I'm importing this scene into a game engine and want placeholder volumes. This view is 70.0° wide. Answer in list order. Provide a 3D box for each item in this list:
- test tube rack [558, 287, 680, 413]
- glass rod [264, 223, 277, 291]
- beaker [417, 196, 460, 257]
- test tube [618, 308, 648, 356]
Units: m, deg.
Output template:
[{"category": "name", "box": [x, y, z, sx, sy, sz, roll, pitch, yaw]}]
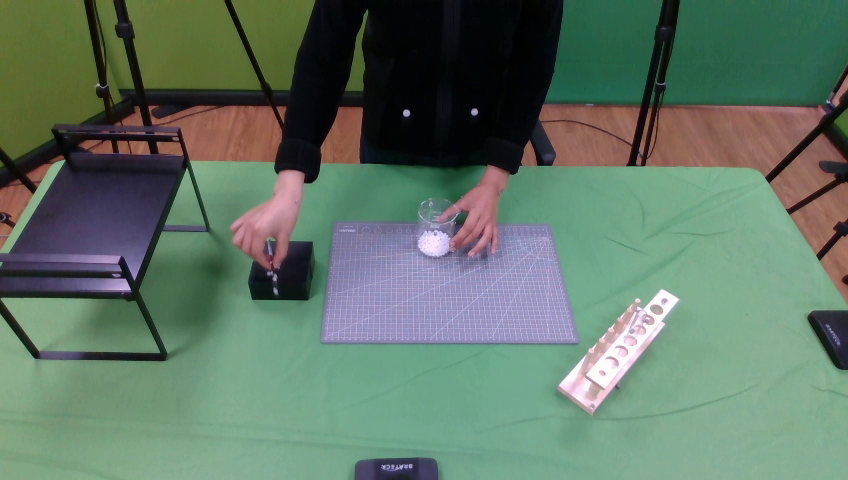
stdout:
[{"category": "test tube rack", "box": [0.326, 0.170, 1.009, 0.066, 0.085, 0.242, 36, 54, 26]}, {"category": "glass rod", "box": [-0.274, 0.025, 1.078, 0.008, 0.008, 0.198, -10, 39, -13]}, {"category": "beaker", "box": [0.025, -0.023, 1.160, 0.084, 0.101, 0.073, -7, 48, -11]}, {"category": "test tube", "box": [0.326, 0.155, 0.955, 0.017, 0.151, 0.017, -1, 50, 1]}]
